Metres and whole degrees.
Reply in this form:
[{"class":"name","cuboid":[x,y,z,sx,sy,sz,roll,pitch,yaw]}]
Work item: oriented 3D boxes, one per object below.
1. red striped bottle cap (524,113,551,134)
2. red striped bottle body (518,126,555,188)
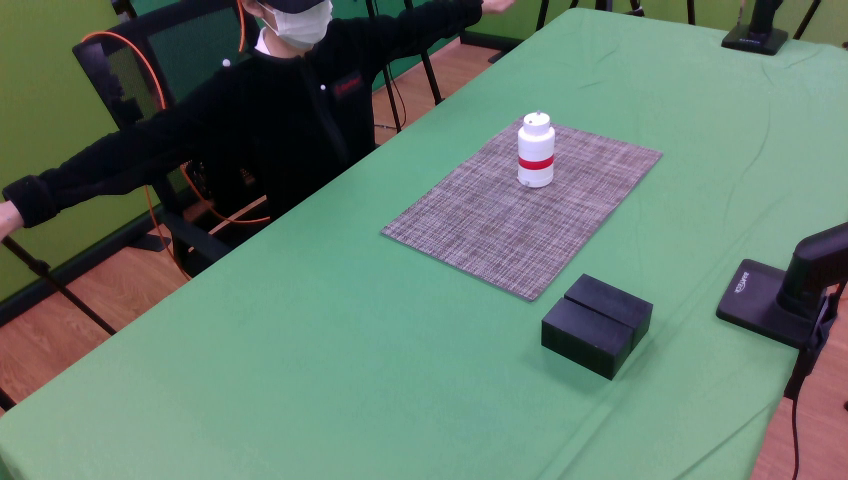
[{"class":"red striped bottle cap","cuboid":[0.190,-0.196,1.012,0.044,0.018,0.044,-6,39,6]},{"class":"red striped bottle body","cuboid":[0.195,-0.156,1.046,0.063,0.120,0.062,-5,39,4]}]
